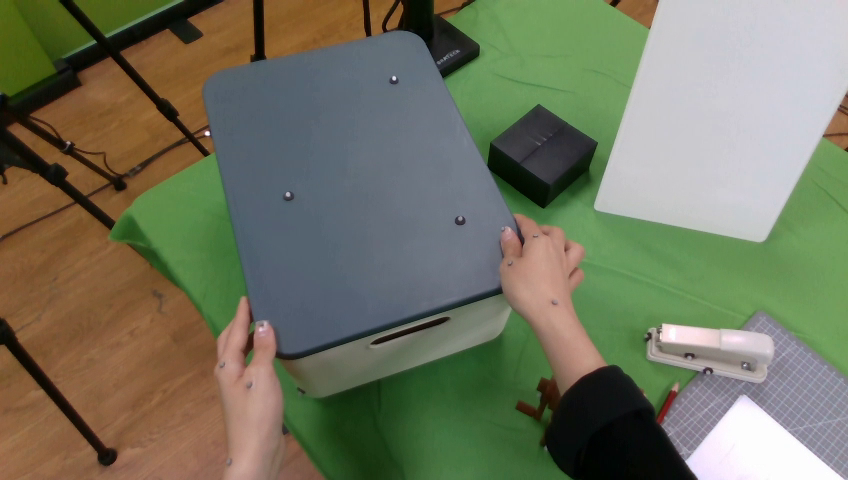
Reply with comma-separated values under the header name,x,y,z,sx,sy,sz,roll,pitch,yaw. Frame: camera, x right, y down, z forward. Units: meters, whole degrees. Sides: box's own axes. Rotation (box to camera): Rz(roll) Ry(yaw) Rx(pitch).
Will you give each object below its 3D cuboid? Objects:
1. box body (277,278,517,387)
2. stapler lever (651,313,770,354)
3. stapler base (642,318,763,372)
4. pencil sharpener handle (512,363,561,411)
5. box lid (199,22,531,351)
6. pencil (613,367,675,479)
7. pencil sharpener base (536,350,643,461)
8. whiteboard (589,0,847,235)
name,x,y,z,sx,sy,sz,roll,pitch,yaw
box body,-0.075,-0.043,0.689,0.254,0.162,0.360,-17,60,-11
stapler lever,0.311,0.099,0.657,0.118,0.040,0.026,10,55,9
stapler base,0.314,0.114,0.678,0.130,0.024,0.041,10,55,10
pencil sharpener handle,0.109,0.142,0.594,0.030,0.068,0.036,23,40,14
box lid,-0.075,-0.084,0.626,0.264,0.015,0.367,-17,61,-11
pencil,0.221,0.207,0.627,0.012,0.012,0.193,31,63,18
pencil sharpener base,0.157,0.164,0.597,0.076,0.108,0.061,23,61,14
whiteboard,0.350,-0.186,0.736,0.217,0.308,0.143,12,40,8
